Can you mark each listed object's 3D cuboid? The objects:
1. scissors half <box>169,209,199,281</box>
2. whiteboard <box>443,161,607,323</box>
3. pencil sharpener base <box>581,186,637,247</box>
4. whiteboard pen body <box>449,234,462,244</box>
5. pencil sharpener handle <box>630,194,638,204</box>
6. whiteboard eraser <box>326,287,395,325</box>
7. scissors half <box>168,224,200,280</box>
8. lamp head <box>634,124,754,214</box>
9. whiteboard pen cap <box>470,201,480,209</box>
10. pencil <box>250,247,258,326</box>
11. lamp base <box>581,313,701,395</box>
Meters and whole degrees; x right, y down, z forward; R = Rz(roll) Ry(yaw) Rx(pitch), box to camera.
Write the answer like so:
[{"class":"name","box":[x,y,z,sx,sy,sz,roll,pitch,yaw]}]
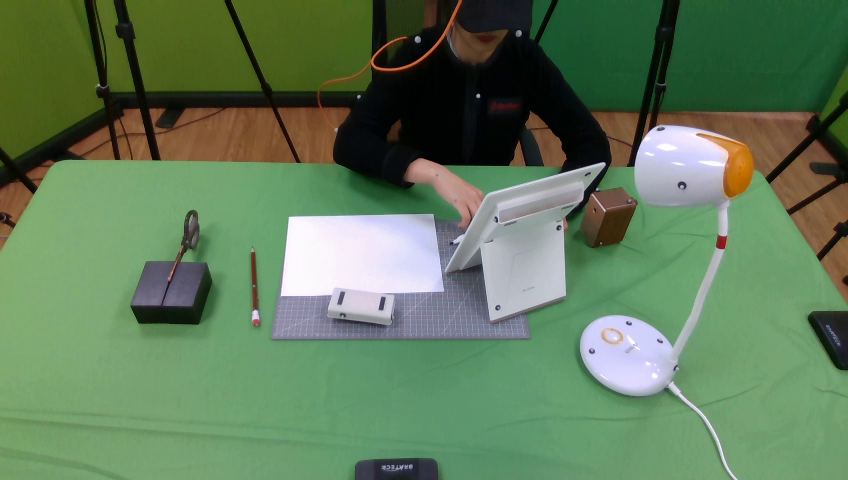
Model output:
[{"class":"scissors half","box":[-0.438,0.007,1.098,0.013,0.040,0.174,3,48,-3]},{"class":"whiteboard","box":[0.185,0.025,1.029,0.217,0.306,0.143,-15,68,-18]},{"class":"pencil sharpener base","box":[0.369,-0.047,1.209,0.077,0.107,0.061,-11,47,-14]},{"class":"whiteboard pen body","box":[0.109,-0.018,1.223,0.141,0.017,0.017,-23,52,-23]},{"class":"pencil sharpener handle","box":[0.417,-0.068,1.215,0.031,0.068,0.036,-11,60,-14]},{"class":"whiteboard eraser","box":[-0.110,0.118,1.057,0.113,0.042,0.055,7,44,2]},{"class":"scissors half","box":[-0.440,0.023,1.111,0.013,0.040,0.174,7,29,-6]},{"class":"lamp head","box":[0.351,-0.089,0.776,0.112,0.113,0.122,-30,30,-28]},{"class":"whiteboard pen cap","box":[0.113,-0.073,1.280,0.033,0.018,0.018,4,46,6]},{"class":"pencil","box":[-0.311,0.079,1.107,0.012,0.012,0.192,-7,46,-11]},{"class":"lamp base","box":[0.361,0.144,0.973,0.178,0.181,0.160,34,53,23]}]
